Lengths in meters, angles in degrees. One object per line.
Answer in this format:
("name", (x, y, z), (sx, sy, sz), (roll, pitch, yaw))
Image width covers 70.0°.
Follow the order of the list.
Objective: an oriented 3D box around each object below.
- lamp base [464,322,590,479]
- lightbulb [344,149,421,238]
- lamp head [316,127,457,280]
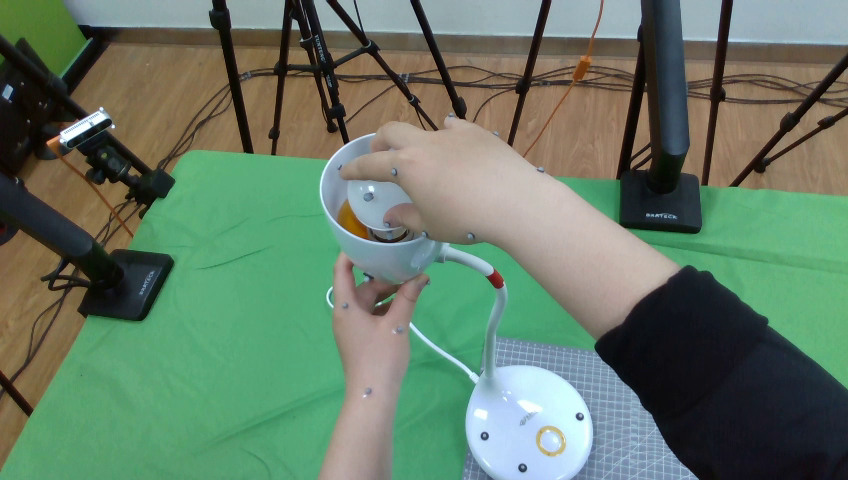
("lamp base", (0.112, 0.177, 0.719), (0.177, 0.182, 0.160), (29, 62, 28))
("lightbulb", (-0.032, -0.029, 0.494), (0.059, 0.108, 0.059), (0, 61, 1))
("lamp head", (-0.025, -0.017, 0.519), (0.112, 0.124, 0.111), (-2, 58, 4))
